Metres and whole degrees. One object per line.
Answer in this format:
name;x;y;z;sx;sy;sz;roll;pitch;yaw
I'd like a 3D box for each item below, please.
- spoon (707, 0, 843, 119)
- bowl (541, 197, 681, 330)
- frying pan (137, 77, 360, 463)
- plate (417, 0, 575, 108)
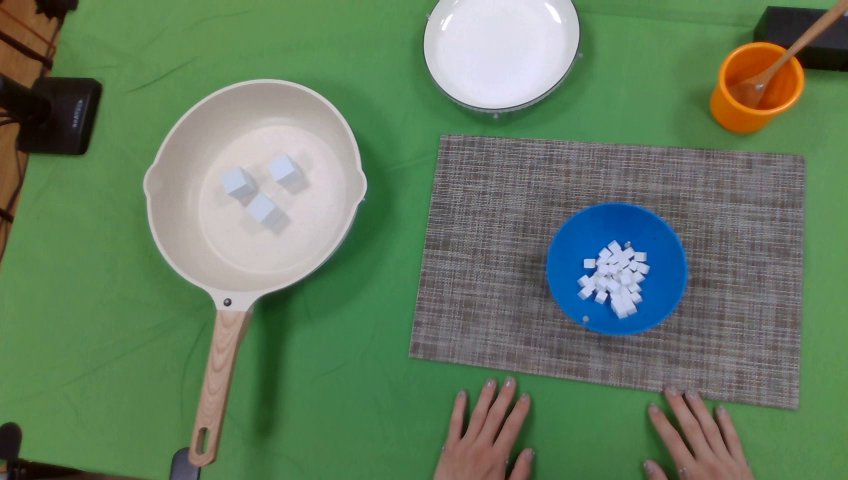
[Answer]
spoon;0.405;-0.214;0.692;0.022;0.194;0.041;-16;65;-40
bowl;0.211;0.033;0.704;0.151;0.077;0.150;-2;78;9
frying pan;-0.237;0.027;0.772;0.306;0.103;0.485;3;70;11
plate;0.095;-0.271;0.814;0.207;0.039;0.206;-2;78;10
